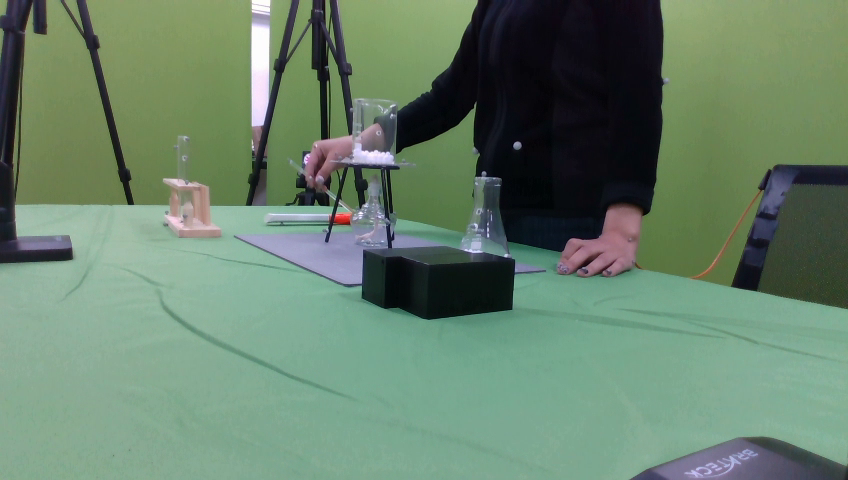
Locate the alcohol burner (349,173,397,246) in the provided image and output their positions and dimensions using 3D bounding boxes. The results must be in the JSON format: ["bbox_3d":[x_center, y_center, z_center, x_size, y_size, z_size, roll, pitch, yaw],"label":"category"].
[{"bbox_3d":[-0.081,-0.050,0.982,0.078,0.119,0.078,4,8,0],"label":"alcohol burner"}]

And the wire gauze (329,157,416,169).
[{"bbox_3d":[-0.079,-0.125,0.972,0.121,0.011,0.125,6,6,5],"label":"wire gauze"}]

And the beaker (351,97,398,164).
[{"bbox_3d":[-0.078,-0.172,0.962,0.074,0.100,0.084,6,8,19],"label":"beaker"}]

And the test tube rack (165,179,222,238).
[{"bbox_3d":[-0.423,-0.062,1.098,0.067,0.085,0.241,-2,9,-28],"label":"test tube rack"}]

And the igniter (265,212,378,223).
[{"bbox_3d":[-0.195,-0.048,1.285,0.278,0.025,0.057,-2,-2,-30],"label":"igniter"}]

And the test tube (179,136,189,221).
[{"bbox_3d":[-0.425,-0.108,1.070,0.017,0.150,0.017,4,9,0],"label":"test tube"}]

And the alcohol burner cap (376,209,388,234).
[{"bbox_3d":[-0.076,-0.035,1.144,0.034,0.048,0.034,-2,6,0],"label":"alcohol burner cap"}]

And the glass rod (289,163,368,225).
[{"bbox_3d":[-0.183,-0.087,1.176,0.200,0.008,0.008,40,-12,-27],"label":"glass rod"}]

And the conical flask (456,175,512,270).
[{"bbox_3d":[0.082,-0.025,0.801,0.075,0.122,0.075,2,7,0],"label":"conical flask"}]

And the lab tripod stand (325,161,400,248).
[{"bbox_3d":[-0.083,-0.059,0.977,0.148,0.131,0.148,4,8,0],"label":"lab tripod stand"}]
